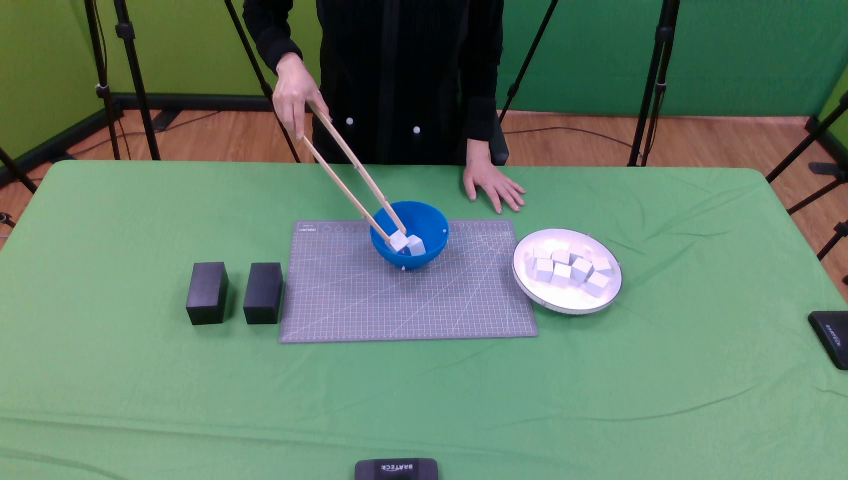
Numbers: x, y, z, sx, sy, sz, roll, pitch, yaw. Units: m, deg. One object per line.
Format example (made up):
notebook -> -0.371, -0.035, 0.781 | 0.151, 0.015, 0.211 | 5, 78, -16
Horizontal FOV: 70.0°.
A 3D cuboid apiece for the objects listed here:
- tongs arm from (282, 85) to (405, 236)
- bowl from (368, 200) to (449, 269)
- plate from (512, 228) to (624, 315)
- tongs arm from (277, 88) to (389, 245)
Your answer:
tongs arm -> -0.157, -0.154, 1.146 | 0.051, 0.026, 0.383 | -28, 71, -17
bowl -> -0.031, 0.002, 1.151 | 0.151, 0.077, 0.150 | 2, 46, -2
plate -> 0.268, 0.063, 1.146 | 0.208, 0.039, 0.206 | 3, 46, -3
tongs arm -> -0.177, -0.142, 1.138 | 0.028, 0.028, 0.386 | -33, 73, -15
